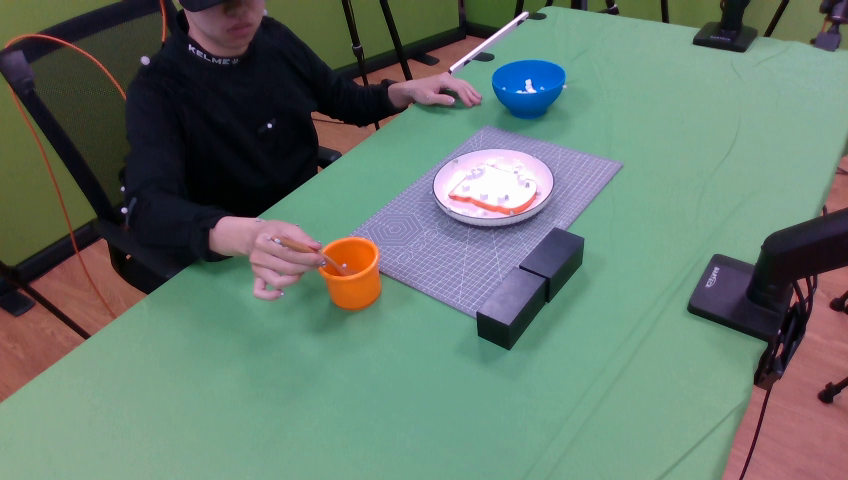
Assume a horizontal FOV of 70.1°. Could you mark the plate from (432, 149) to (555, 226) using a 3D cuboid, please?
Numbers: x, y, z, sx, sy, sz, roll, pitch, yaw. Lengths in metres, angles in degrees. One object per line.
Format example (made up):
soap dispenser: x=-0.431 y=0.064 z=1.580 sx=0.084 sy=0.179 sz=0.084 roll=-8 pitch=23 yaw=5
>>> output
plate: x=0.120 y=-0.087 z=1.037 sx=0.209 sy=0.038 sz=0.208 roll=-4 pitch=40 yaw=4

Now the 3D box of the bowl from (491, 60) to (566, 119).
bowl: x=0.215 y=-0.302 z=1.248 sx=0.151 sy=0.077 sz=0.150 roll=-4 pitch=40 yaw=4

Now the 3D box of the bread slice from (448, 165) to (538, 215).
bread slice: x=0.126 y=-0.085 z=1.037 sx=0.133 sy=0.018 sz=0.107 roll=17 pitch=45 yaw=27

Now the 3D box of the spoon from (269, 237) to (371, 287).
spoon: x=-0.137 y=0.029 z=0.826 sx=0.021 sy=0.195 sz=0.041 roll=-50 pitch=51 yaw=3
